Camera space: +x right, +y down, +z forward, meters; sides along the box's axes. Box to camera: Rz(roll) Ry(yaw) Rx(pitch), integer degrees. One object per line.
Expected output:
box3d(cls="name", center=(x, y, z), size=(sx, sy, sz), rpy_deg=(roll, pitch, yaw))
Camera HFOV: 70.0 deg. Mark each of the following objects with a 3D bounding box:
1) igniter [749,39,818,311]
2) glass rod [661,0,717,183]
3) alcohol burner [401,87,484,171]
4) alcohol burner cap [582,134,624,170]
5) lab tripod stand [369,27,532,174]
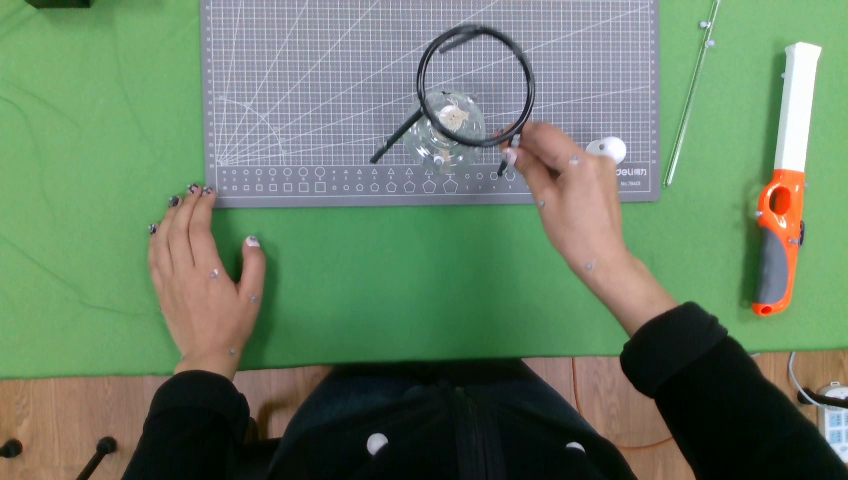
box3d(cls="igniter", center=(0.367, -0.064, 0.619), size=(0.057, 0.025, 0.276), rpy_deg=(6, 91, -15))
box3d(cls="glass rod", center=(0.270, -0.154, 0.618), size=(0.008, 0.008, 0.199), rpy_deg=(15, 91, -5))
box3d(cls="alcohol burner", center=(0.018, -0.103, 0.545), size=(0.078, 0.119, 0.078), rpy_deg=(0, 89, -4))
box3d(cls="alcohol burner cap", center=(0.178, -0.087, 0.593), size=(0.034, 0.048, 0.034), rpy_deg=(0, 90, -3))
box3d(cls="lab tripod stand", center=(0.024, -0.112, 0.503), size=(0.149, 0.131, 0.148), rpy_deg=(1, 86, -10))
